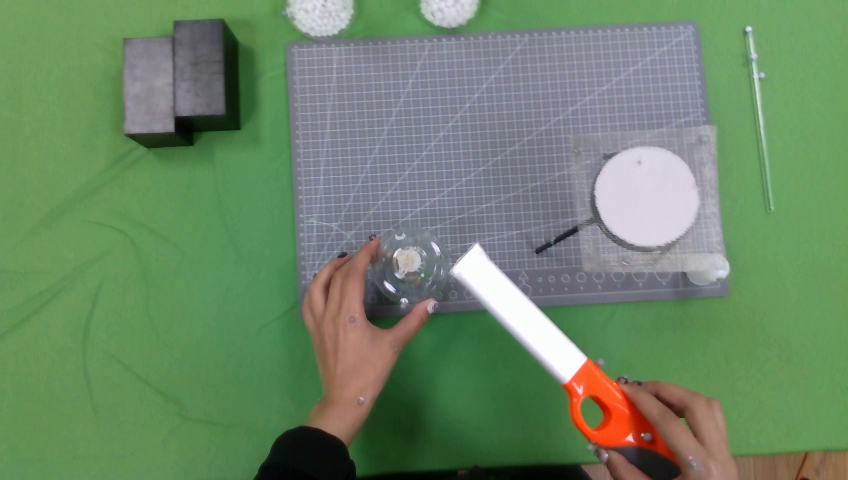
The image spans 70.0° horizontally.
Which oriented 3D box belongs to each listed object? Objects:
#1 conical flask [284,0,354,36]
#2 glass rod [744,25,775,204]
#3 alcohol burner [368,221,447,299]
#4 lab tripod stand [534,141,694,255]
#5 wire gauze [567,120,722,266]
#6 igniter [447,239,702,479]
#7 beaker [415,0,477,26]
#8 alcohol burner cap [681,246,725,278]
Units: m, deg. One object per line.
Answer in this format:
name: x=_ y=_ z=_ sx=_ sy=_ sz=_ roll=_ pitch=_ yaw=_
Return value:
conical flask: x=-0.113 y=-0.263 z=0.602 sx=0.075 sy=0.122 sz=0.075 roll=0 pitch=84 yaw=-1
glass rod: x=0.362 y=-0.137 z=0.654 sx=0.008 sy=0.008 sz=0.199 roll=-5 pitch=84 yaw=-2
alcohol burner: x=-0.016 y=0.018 z=0.579 sx=0.078 sy=0.119 sz=0.078 roll=0 pitch=86 yaw=-1
lab tripod stand: x=0.182 y=-0.031 z=0.577 sx=0.148 sy=0.131 sz=0.148 roll=0 pitch=86 yaw=0
wire gauze: x=0.187 y=-0.039 z=0.510 sx=0.125 sy=0.011 sz=0.121 roll=-2 pitch=86 yaw=0
igniter: x=0.124 y=0.108 z=0.485 sx=0.277 sy=0.025 sz=0.057 roll=46 pitch=76 yaw=-2
beaker: x=0.026 y=-0.270 z=0.617 sx=0.084 sy=0.100 sz=0.074 roll=32 pitch=85 yaw=2
alcohol burner cap: x=0.288 y=0.021 z=0.620 sx=0.034 sy=0.048 sz=0.034 roll=0 pitch=84 yaw=-1
